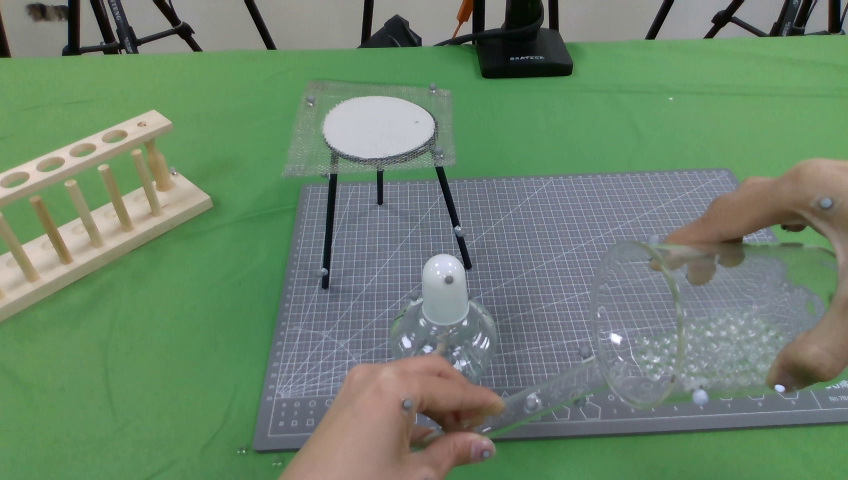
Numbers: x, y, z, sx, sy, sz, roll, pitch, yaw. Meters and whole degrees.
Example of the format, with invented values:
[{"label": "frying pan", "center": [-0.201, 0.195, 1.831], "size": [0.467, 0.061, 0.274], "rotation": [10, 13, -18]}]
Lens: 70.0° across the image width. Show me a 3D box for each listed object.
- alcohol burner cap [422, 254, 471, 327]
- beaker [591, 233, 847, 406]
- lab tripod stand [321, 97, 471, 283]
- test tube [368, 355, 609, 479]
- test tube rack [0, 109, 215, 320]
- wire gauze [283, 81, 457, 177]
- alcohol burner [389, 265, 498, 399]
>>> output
[{"label": "alcohol burner cap", "center": [0.014, 0.030, 0.395], "size": [0.034, 0.048, 0.033], "rotation": [-3, 42, 3]}, {"label": "beaker", "center": [0.139, 0.038, 0.282], "size": [0.100, 0.084, 0.073], "rotation": [-1, 50, -12]}, {"label": "lab tripod stand", "center": [-0.028, -0.041, 0.509], "size": [0.148, 0.132, 0.147], "rotation": [1, 42, 0]}, {"label": "test tube", "center": [0.029, 0.099, 0.326], "size": [0.150, 0.017, 0.017], "rotation": [-31, 38, 21]}, {"label": "test tube rack", "center": [-0.316, -0.021, 0.531], "size": [0.066, 0.086, 0.242], "rotation": [33, 52, 31]}, {"label": "wire gauze", "center": [-0.037, -0.088, 0.462], "size": [0.121, 0.011, 0.124], "rotation": [1, 44, 0]}, {"label": "alcohol burner", "center": [0.014, 0.056, 0.419], "size": [0.078, 0.120, 0.077], "rotation": [0, 44, 0]}]
